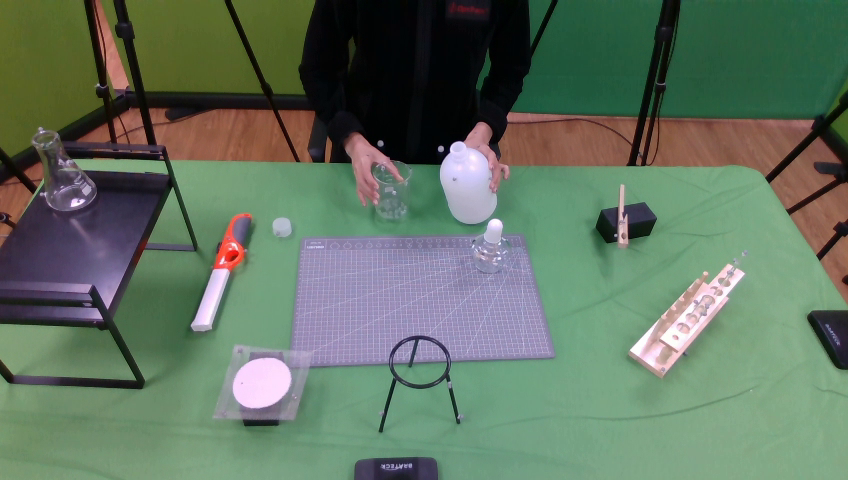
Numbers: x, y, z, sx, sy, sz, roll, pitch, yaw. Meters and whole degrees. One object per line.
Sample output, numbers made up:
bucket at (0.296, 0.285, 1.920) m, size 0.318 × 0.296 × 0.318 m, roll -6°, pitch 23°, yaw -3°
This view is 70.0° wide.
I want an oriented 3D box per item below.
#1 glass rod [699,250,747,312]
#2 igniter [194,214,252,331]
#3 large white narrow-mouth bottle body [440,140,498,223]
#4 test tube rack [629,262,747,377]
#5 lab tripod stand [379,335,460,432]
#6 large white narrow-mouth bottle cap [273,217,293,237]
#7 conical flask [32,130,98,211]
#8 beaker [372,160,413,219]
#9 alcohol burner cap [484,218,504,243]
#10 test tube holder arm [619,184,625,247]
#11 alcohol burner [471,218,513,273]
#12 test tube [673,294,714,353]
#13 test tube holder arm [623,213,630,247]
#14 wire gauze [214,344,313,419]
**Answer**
glass rod at (0.500, 0.074, 1.021) m, size 0.008 × 0.201 × 0.008 m, roll 0°, pitch 55°, yaw 1°
igniter at (-0.367, 0.050, 1.119) m, size 0.057 × 0.025 × 0.275 m, roll -4°, pitch 45°, yaw 7°
large white narrow-mouth bottle body at (0.086, -0.122, 1.187) m, size 0.102 × 0.196 × 0.101 m, roll -7°, pitch 57°, yaw 11°
test tube rack at (0.464, 0.126, 1.060) m, size 0.242 × 0.085 × 0.066 m, roll -34°, pitch 56°, yaw -31°
lab tripod stand at (-0.010, 0.214, 0.911) m, size 0.148 × 0.132 × 0.147 m, roll 1°, pitch 45°, yaw 0°
large white narrow-mouth bottle cap at (-0.281, -0.026, 1.203) m, size 0.038 × 0.024 × 0.037 m, roll 2°, pitch 46°, yaw -2°
conical flask at (-0.565, -0.111, 0.944) m, size 0.075 × 0.122 × 0.075 m, roll 2°, pitch 46°, yaw -2°
beaker at (-0.061, -0.099, 1.208) m, size 0.084 × 0.101 × 0.073 m, roll -18°, pitch 49°, yaw -19°
alcohol burner cap at (0.130, -0.021, 1.106) m, size 0.034 × 0.048 × 0.033 m, roll 3°, pitch 51°, yaw -4°
test tube holder arm at (0.396, -0.053, 1.210) m, size 0.013 × 0.015 × 0.177 m, roll 14°, pitch 46°, yaw 2°
alcohol burner at (0.128, 0.005, 1.132) m, size 0.078 × 0.120 × 0.077 m, roll 0°, pitch 47°, yaw 0°
test tube at (0.428, 0.137, 0.978) m, size 0.017 × 0.151 × 0.017 m, roll 4°, pitch 47°, yaw -4°
test tube holder arm at (0.393, -0.020, 1.179) m, size 0.010 × 0.015 × 0.087 m, roll 14°, pitch 46°, yaw 1°
wire gauze at (-0.241, 0.213, 0.915) m, size 0.121 × 0.011 × 0.124 m, roll 5°, pitch 46°, yaw 1°
